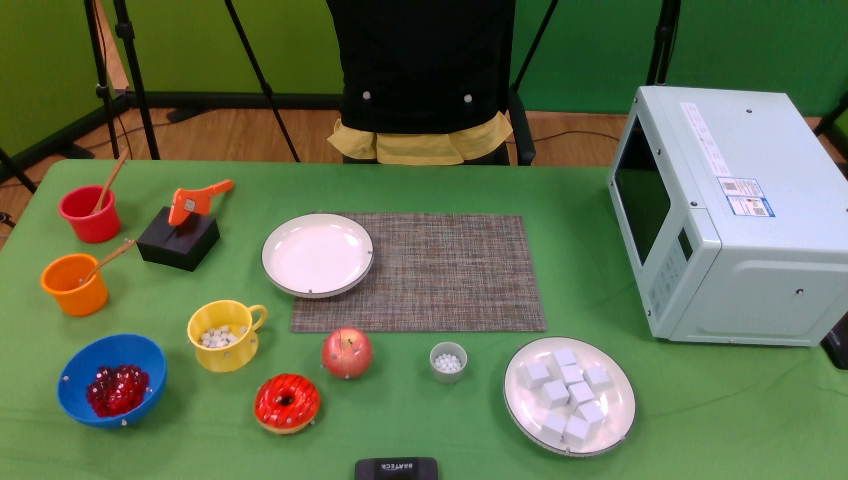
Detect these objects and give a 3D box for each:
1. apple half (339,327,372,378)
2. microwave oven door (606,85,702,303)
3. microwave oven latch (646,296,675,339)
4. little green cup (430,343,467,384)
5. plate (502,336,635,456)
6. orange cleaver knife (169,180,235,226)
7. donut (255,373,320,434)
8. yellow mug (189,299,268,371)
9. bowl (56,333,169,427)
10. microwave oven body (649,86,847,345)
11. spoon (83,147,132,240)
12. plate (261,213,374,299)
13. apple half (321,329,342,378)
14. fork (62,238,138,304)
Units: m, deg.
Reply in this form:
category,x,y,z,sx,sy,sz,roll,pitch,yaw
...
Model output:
category,x,y,z,sx,sy,sz,roll,pitch,yaw
apple half,-0.111,0.182,0.980,0.053,0.075,0.080,-2,42,-12
microwave oven door,0.423,-0.094,1.141,0.039,0.245,0.353,2,46,-1
microwave oven latch,0.412,0.134,1.061,0.030,0.029,0.078,4,45,1
little green cup,0.039,0.203,0.994,0.061,0.039,0.061,2,46,-2
plate,0.225,0.248,0.963,0.208,0.039,0.206,2,46,-2
orange cleaver knife,-0.436,-0.076,1.199,0.012,0.077,0.211,17,17,9
donut,-0.209,0.249,0.928,0.099,0.048,0.098,3,43,-3
yellow mug,-0.316,0.148,1.002,0.131,0.064,0.099,-33,56,-31
bowl,-0.456,0.223,0.912,0.151,0.077,0.150,3,45,-2
microwave oven body,0.567,-0.053,1.118,0.326,0.261,0.439,2,45,-1
spoon,-0.602,-0.089,1.157,0.041,0.022,0.194,27,95,20
plate,-0.198,0.032,1.137,0.209,0.038,0.208,2,46,-2
apple half,-0.149,0.186,0.972,0.033,0.081,0.080,-2,46,-12
fork,-0.547,0.053,1.018,0.207,0.019,0.028,-36,41,23
